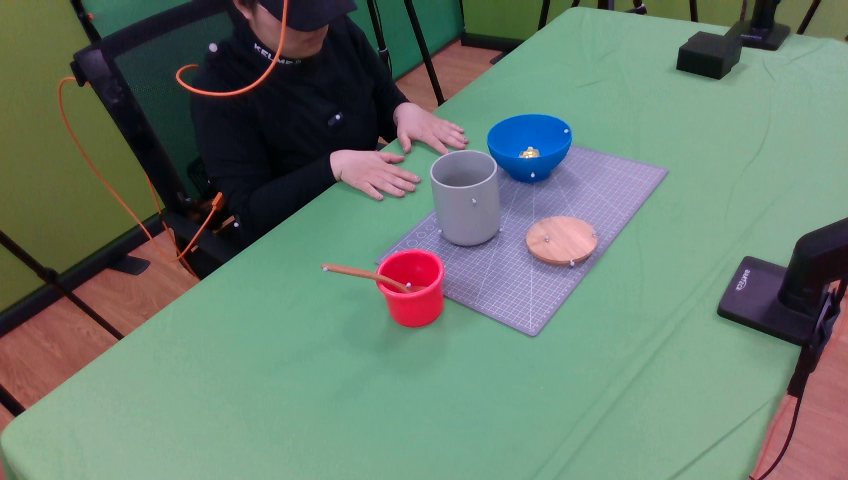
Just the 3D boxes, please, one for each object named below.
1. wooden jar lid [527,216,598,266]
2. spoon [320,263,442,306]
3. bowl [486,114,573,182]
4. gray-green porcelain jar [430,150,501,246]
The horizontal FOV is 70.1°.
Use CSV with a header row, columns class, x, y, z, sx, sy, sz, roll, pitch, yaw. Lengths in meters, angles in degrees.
class,x,y,z,sx,sy,sz,roll,pitch,yaw
wooden jar lid,0.214,0.003,0.937,0.108,0.021,0.108,-4,40,4
spoon,-0.056,0.057,0.832,0.195,0.021,0.041,22,26,-33
bowl,0.190,-0.156,1.085,0.151,0.077,0.150,-5,40,5
gray-green porcelain jar,0.068,-0.062,0.959,0.106,0.127,0.105,-5,40,5
